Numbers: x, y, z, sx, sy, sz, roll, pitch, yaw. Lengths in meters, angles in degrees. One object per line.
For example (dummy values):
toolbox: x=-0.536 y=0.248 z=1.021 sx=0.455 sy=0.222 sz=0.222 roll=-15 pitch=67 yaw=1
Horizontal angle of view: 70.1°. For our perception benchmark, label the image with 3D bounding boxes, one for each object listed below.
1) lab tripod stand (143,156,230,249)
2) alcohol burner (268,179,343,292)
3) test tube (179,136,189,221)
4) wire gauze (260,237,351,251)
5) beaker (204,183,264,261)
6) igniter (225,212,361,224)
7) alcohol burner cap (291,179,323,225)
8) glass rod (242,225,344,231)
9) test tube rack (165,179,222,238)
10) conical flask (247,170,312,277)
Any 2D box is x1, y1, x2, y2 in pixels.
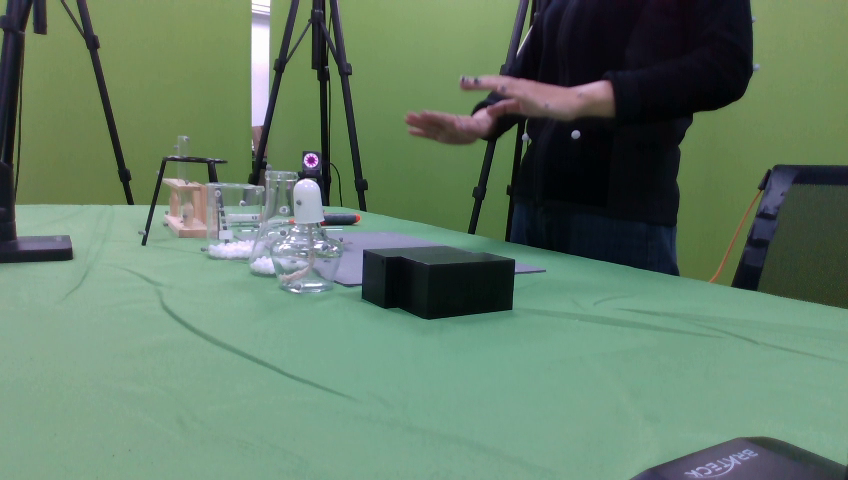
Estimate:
lab tripod stand: x=-0.338 y=-0.058 z=0.908 sx=0.148 sy=0.131 sz=0.148 roll=4 pitch=7 yaw=0
alcohol burner: x=-0.124 y=-0.005 z=0.637 sx=0.078 sy=0.119 sz=0.078 roll=4 pitch=8 yaw=0
test tube: x=-0.425 y=-0.108 z=1.070 sx=0.017 sy=0.150 sz=0.017 roll=4 pitch=9 yaw=0
wire gauze: x=-0.184 y=0.004 z=0.938 sx=0.122 sy=0.011 sz=0.124 roll=-1 pitch=5 yaw=-24
beaker: x=-0.254 y=-0.026 z=0.817 sx=0.073 sy=0.100 sz=0.084 roll=9 pitch=9 yaw=39
igniter: x=-0.262 y=-0.044 z=1.240 sx=0.278 sy=0.025 sz=0.057 roll=-2 pitch=-1 yaw=-31
alcohol burner cap: x=-0.124 y=-0.040 z=0.632 sx=0.034 sy=0.048 sz=0.034 roll=-3 pitch=10 yaw=1
glass rod: x=-0.246 y=-0.023 z=1.154 sx=0.201 sy=0.008 sz=0.008 roll=-2 pitch=8 yaw=-31
test tube rack: x=-0.423 y=-0.062 z=1.098 sx=0.067 sy=0.085 sz=0.241 roll=-2 pitch=9 yaw=-28
conical flask: x=-0.170 y=-0.021 z=0.717 sx=0.075 sy=0.122 sz=0.075 roll=2 pitch=7 yaw=0
